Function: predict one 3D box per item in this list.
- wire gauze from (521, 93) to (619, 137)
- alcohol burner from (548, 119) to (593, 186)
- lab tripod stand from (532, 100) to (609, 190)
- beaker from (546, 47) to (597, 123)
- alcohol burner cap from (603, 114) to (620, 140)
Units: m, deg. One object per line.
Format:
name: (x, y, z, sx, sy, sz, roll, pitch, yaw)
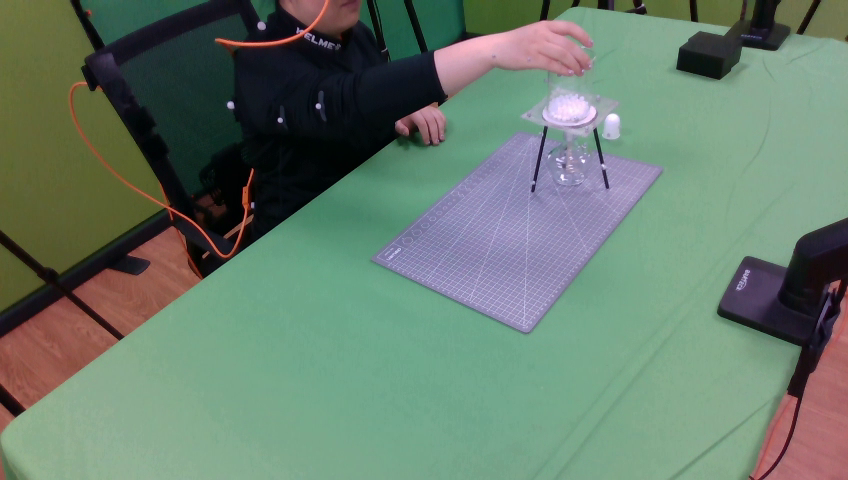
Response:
wire gauze: (0.240, -0.212, 0.995, 0.124, 0.011, 0.122, 22, 46, 35)
alcohol burner: (0.252, -0.154, 1.042, 0.078, 0.120, 0.077, -7, 41, 7)
lab tripod stand: (0.251, -0.160, 1.034, 0.148, 0.132, 0.147, -4, 39, 4)
beaker: (0.229, -0.246, 0.962, 0.083, 0.101, 0.074, 25, 49, 34)
alcohol burner cap: (0.359, -0.217, 1.157, 0.034, 0.048, 0.033, -7, 40, 6)
